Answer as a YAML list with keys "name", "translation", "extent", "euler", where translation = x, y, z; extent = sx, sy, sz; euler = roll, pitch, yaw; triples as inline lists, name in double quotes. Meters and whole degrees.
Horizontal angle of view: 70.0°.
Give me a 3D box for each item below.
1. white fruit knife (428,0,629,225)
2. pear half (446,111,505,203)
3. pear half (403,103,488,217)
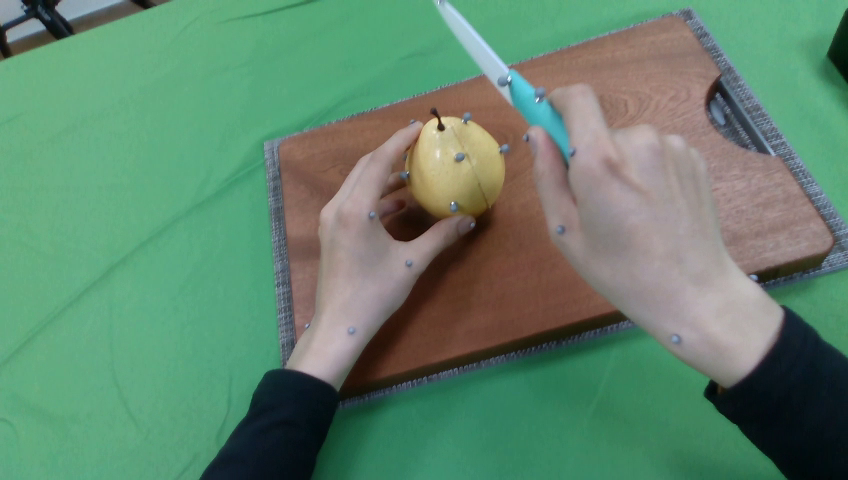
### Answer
- name: "white fruit knife"
  translation: [0.055, -0.092, 0.371]
  extent: [0.016, 0.027, 0.205]
  euler: [-29, 66, -15]
- name: "pear half"
  translation: [0.044, -0.070, 0.470]
  extent: [0.031, 0.089, 0.069]
  euler: [-28, 50, -2]
- name: "pear half"
  translation: [0.009, -0.061, 0.462]
  extent: [0.056, 0.111, 0.075]
  euler: [-29, 53, -2]
